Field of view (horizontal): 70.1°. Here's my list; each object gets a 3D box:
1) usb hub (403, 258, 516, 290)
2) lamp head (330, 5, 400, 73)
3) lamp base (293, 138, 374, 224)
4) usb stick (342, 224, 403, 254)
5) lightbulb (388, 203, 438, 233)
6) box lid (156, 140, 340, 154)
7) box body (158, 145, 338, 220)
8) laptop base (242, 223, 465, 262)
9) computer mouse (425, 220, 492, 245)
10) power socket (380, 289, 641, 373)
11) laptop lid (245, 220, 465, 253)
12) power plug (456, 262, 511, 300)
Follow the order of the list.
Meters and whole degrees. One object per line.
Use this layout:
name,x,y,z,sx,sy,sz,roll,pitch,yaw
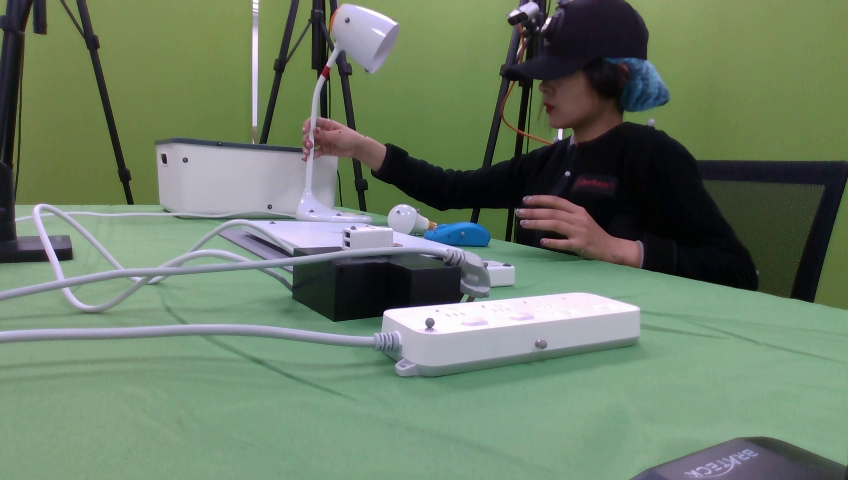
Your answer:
usb hub,0.042,0.038,0.690,0.126,0.025,0.049,-2,10,-30
lamp head,-0.127,-0.410,1.211,0.123,0.112,0.112,28,9,1
lamp base,-0.194,-0.122,1.256,0.179,0.180,0.161,1,5,11
usb stick,-0.047,-0.001,0.567,0.059,0.027,0.021,0,5,-32
lightbulb,-0.017,-0.035,1.161,0.108,0.059,0.059,16,0,-28
box lid,-0.409,-0.213,1.404,0.373,0.015,0.262,-2,8,-32
box body,-0.410,-0.139,1.414,0.366,0.160,0.253,-3,8,-33
laptop base,-0.126,0.003,0.946,0.237,0.023,0.352,2,6,-31
computer mouse,0.060,-0.013,1.060,0.117,0.041,0.062,-2,10,-6
power socket,0.072,0.064,0.461,0.228,0.032,0.072,-2,8,-30
laptop lid,-0.124,-0.009,0.945,0.243,0.013,0.355,1,7,-29
power plug,0.051,0.050,0.543,0.035,0.052,0.072,7,38,-20
